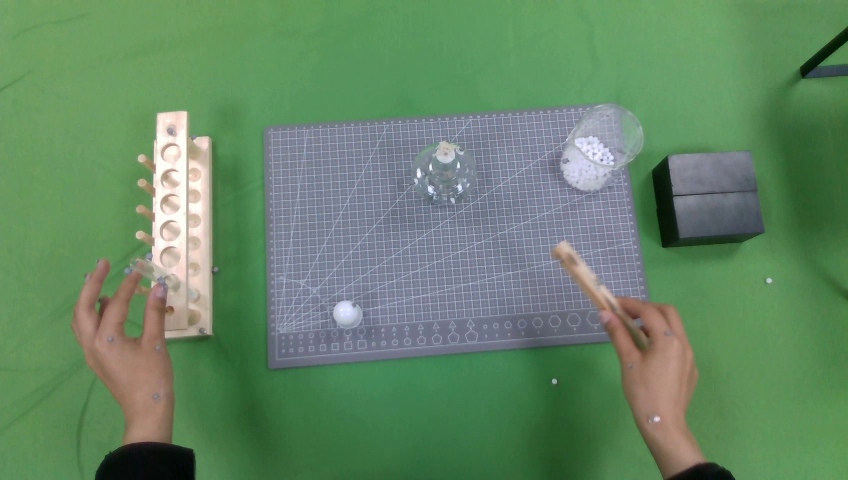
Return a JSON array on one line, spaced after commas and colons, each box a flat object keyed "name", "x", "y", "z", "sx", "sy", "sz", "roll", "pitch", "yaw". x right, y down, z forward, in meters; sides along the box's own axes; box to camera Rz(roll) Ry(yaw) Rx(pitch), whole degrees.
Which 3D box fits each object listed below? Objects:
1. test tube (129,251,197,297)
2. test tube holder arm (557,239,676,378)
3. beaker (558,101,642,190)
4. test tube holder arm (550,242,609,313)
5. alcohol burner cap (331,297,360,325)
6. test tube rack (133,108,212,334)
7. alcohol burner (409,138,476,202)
[{"name": "test tube", "x": -0.265, "y": 0.038, "z": 0.625, "sx": 0.017, "sy": 0.151, "sz": 0.017, "roll": 1, "pitch": 73, "yaw": -1}, {"name": "test tube holder arm", "x": 0.197, "y": 0.070, "z": 0.628, "sx": 0.013, "sy": 0.015, "sz": 0.178, "roll": -39, "pitch": 83, "yaw": -20}, {"name": "beaker", "x": 0.197, "y": -0.105, "z": 0.707, "sx": 0.084, "sy": 0.100, "sz": 0.073, "roll": -6, "pitch": 77, "yaw": -1}, {"name": "test tube holder arm", "x": 0.164, "y": 0.039, "z": 0.631, "sx": 0.010, "sy": 0.015, "sz": 0.087, "roll": -37, "pitch": 83, "yaw": -20}, {"name": "alcohol burner cap", "x": -0.092, "y": 0.080, "z": 0.690, "sx": 0.034, "sy": 0.048, "sz": 0.033, "roll": 1, "pitch": 78, "yaw": -2}, {"name": "test tube rack", "x": -0.288, "y": -0.019, "z": 0.688, "sx": 0.067, "sy": 0.085, "sz": 0.241, "roll": -4, "pitch": 78, "yaw": -2}, {"name": "alcohol burner", "x": 0.021, "y": -0.085, "z": 0.692, "sx": 0.078, "sy": 0.119, "sz": 0.077, "roll": 0, "pitch": 78, "yaw": 1}]
